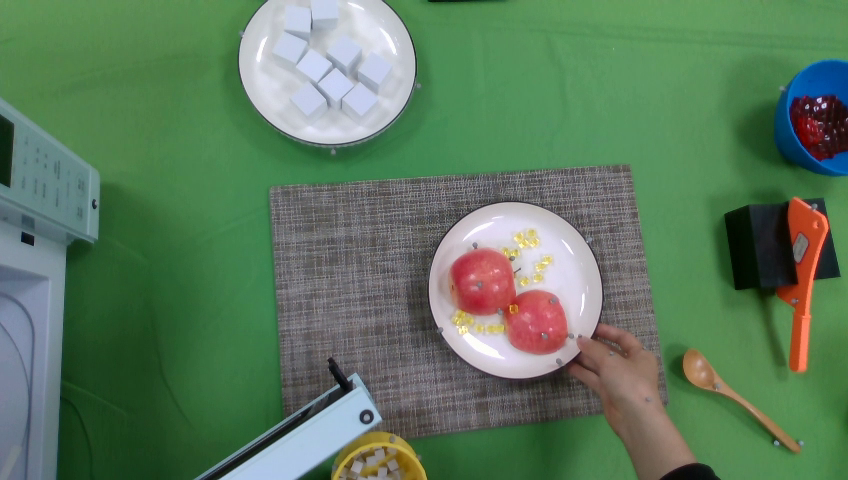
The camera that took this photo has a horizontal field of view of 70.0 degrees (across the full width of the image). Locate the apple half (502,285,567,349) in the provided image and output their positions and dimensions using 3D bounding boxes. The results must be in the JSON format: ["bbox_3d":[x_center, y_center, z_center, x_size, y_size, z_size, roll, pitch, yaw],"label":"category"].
[{"bbox_3d":[0.130,0.089,0.699,0.081,0.033,0.081,1,77,-5],"label":"apple half"}]

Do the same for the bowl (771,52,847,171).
[{"bbox_3d":[0.506,-0.153,0.778,0.152,0.077,0.151,1,81,-7],"label":"bowl"}]

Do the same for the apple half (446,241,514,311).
[{"bbox_3d":[0.066,0.040,0.689,0.075,0.053,0.080,-7,82,-6],"label":"apple half"}]

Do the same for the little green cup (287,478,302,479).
[{"bbox_3d":[-0.141,0.283,0.641,0.062,0.038,0.061,1,80,-8],"label":"little green cup"}]

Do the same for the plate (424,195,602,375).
[{"bbox_3d":[0.101,0.052,0.708,0.209,0.038,0.208,1,81,-7],"label":"plate"}]

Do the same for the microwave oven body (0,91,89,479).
[{"bbox_3d":[-0.495,0.110,0.506,0.327,0.260,0.440,-1,82,-8],"label":"microwave oven body"}]

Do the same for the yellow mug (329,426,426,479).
[{"bbox_3d":[-0.052,0.270,0.641,0.100,0.064,0.130,6,83,-7],"label":"yellow mug"}]

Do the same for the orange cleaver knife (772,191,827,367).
[{"bbox_3d":[0.449,0.049,0.736,0.012,0.077,0.212,-3,105,-4],"label":"orange cleaver knife"}]

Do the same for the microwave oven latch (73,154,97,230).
[{"bbox_3d":[-0.367,-0.051,0.647,0.030,0.029,0.079,-1,82,-8],"label":"microwave oven latch"}]

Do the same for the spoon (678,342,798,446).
[{"bbox_3d":[0.381,0.191,0.734,0.194,0.022,0.041,38,61,0],"label":"spoon"}]

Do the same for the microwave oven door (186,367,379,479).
[{"bbox_3d":[-0.199,0.227,0.521,0.356,0.244,0.039,-32,85,-11],"label":"microwave oven door"}]

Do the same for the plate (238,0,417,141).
[{"bbox_3d":[-0.113,-0.215,0.727,0.208,0.039,0.207,1,81,-7],"label":"plate"}]
